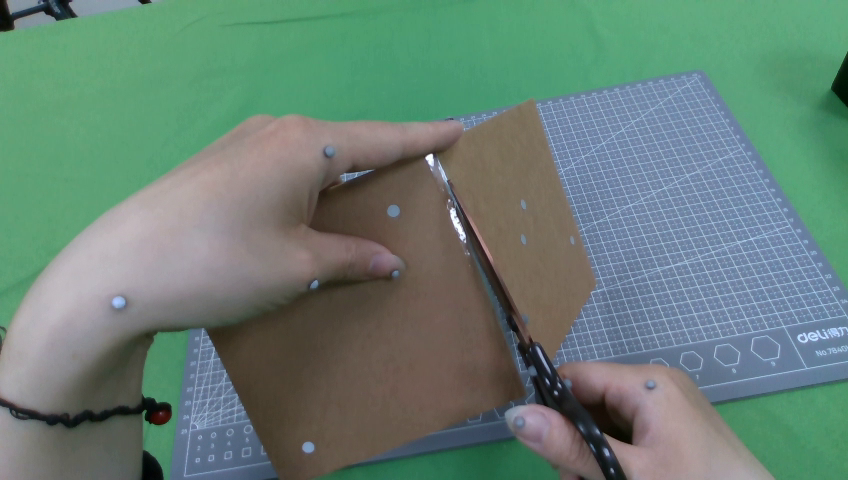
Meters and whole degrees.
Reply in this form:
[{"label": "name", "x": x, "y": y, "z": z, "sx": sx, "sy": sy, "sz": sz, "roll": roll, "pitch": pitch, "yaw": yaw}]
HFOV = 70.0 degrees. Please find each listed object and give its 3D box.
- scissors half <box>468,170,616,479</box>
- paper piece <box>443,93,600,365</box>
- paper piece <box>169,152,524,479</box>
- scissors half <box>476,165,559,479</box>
[{"label": "scissors half", "x": 0.051, "y": 0.047, "z": 0.276, "sx": 0.013, "sy": 0.040, "sz": 0.174, "roll": -16, "pitch": 76, "yaw": -19}, {"label": "paper piece", "x": 0.066, "y": -0.009, "z": 0.349, "sx": 0.004, "sy": 0.136, "sz": 0.135, "roll": -14, "pitch": 14, "yaw": 35}, {"label": "paper piece", "x": -0.035, "y": 0.044, "z": 0.299, "sx": 0.138, "sy": 0.008, "sz": 0.136, "roll": -21, "pitch": 96, "yaw": 4}, {"label": "scissors half", "x": 0.046, "y": 0.049, "z": 0.297, "sx": 0.013, "sy": 0.175, "sz": 0.040, "roll": -16, "pitch": 10, "yaw": -13}]
